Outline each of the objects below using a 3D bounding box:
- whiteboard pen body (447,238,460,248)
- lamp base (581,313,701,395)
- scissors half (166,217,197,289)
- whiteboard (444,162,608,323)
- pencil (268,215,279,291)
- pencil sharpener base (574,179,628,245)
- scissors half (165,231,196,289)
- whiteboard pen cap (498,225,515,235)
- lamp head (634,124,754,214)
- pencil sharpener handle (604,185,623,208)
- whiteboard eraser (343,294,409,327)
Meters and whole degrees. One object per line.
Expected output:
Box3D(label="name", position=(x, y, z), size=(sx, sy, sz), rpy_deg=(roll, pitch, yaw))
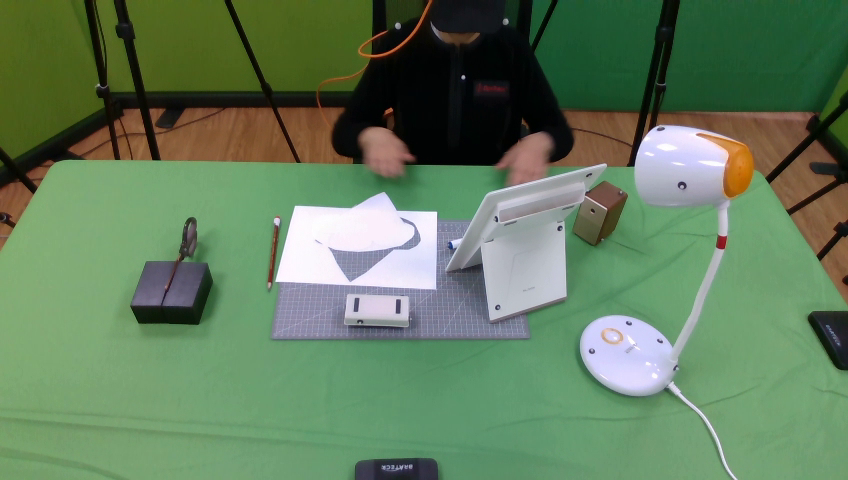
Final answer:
Box3D(label="whiteboard pen body", position=(0.112, -0.005, 1.204), size=(0.141, 0.017, 0.017), rpy_deg=(-14, 49, -18))
Box3D(label="lamp base", position=(0.361, 0.144, 0.972), size=(0.178, 0.181, 0.160), rpy_deg=(34, 53, 23))
Box3D(label="scissors half", position=(-0.436, 0.020, 1.086), size=(0.013, 0.040, 0.174), rpy_deg=(7, 47, -7))
Box3D(label="whiteboard", position=(0.186, 0.025, 1.029), size=(0.217, 0.306, 0.143), rpy_deg=(-14, 68, -18))
Box3D(label="pencil", position=(-0.291, 0.022, 1.164), size=(0.012, 0.012, 0.192), rpy_deg=(-2, 48, -6))
Box3D(label="pencil sharpener base", position=(0.355, -0.057, 1.217), size=(0.076, 0.107, 0.061), rpy_deg=(-33, 56, -31))
Box3D(label="scissors half", position=(-0.441, 0.036, 1.098), size=(0.013, 0.040, 0.174), rpy_deg=(12, 28, -10))
Box3D(label="whiteboard pen cap", position=(0.166, -0.019, 1.222), size=(0.033, 0.018, 0.018), rpy_deg=(-14, 49, -19))
Box3D(label="lamp head", position=(0.351, -0.089, 0.775), size=(0.112, 0.113, 0.122), rpy_deg=(-30, 30, -28))
Box3D(label="pencil sharpener handle", position=(0.390, -0.091, 1.235), size=(0.030, 0.068, 0.036), rpy_deg=(-33, 69, -31))
Box3D(label="whiteboard eraser", position=(-0.082, 0.124, 1.053), size=(0.113, 0.042, 0.055), rpy_deg=(2, 45, -2))
